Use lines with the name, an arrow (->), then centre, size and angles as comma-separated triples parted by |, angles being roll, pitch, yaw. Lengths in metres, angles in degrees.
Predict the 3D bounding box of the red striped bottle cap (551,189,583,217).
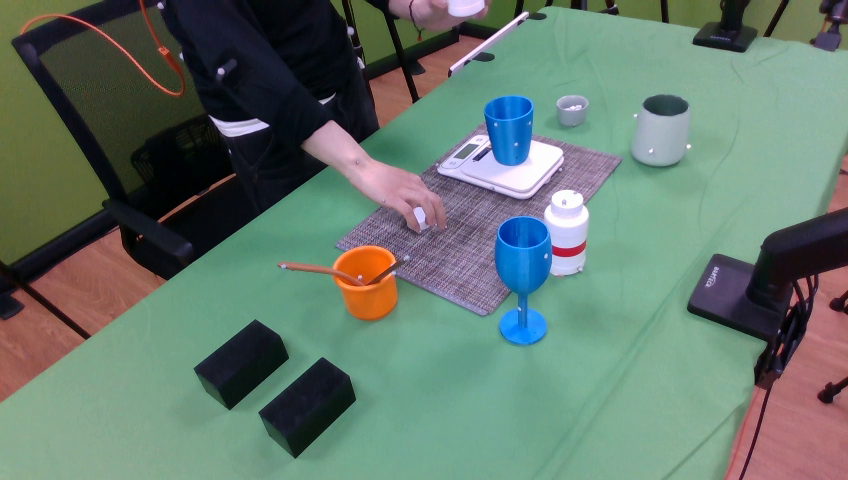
red striped bottle cap -> 0.200, -0.052, 0.843 | 0.044, 0.018, 0.044 | -2, 42, 2

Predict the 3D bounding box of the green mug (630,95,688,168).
green mug -> 0.421, -0.201, 1.081 | 0.092, 0.105, 0.125 | 5, 42, 15

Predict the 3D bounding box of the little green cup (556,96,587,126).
little green cup -> 0.295, -0.258, 1.214 | 0.061, 0.039, 0.061 | -4, 42, 4

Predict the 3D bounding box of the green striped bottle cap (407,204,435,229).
green striped bottle cap -> -0.005, -0.040, 1.010 | 0.044, 0.020, 0.044 | -12, 44, 12

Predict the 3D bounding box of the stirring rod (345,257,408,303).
stirring rod -> -0.067, 0.057, 0.815 | 0.014, 0.175, 0.006 | -24, 82, -38

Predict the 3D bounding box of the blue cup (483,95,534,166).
blue cup -> 0.149, -0.186, 1.050 | 0.092, 0.101, 0.092 | -6, 40, 6

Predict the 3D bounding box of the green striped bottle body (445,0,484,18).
green striped bottle body -> 0.058, -0.427, 0.973 | 0.063, 0.120, 0.063 | -8, 43, 8

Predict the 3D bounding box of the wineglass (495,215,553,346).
wineglass -> 0.127, 0.055, 0.770 | 0.074, 0.173, 0.073 | -4, 40, 4

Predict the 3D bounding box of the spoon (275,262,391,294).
spoon -> -0.120, 0.050, 0.830 | 0.041, 0.195, 0.021 | 31, 96, 45

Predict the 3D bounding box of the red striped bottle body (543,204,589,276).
red striped bottle body -> 0.205, -0.011, 0.877 | 0.063, 0.120, 0.062 | -4, 41, 4

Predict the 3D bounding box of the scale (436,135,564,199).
scale -> 0.137, -0.142, 1.101 | 0.199, 0.032, 0.149 | 22, 48, 30
